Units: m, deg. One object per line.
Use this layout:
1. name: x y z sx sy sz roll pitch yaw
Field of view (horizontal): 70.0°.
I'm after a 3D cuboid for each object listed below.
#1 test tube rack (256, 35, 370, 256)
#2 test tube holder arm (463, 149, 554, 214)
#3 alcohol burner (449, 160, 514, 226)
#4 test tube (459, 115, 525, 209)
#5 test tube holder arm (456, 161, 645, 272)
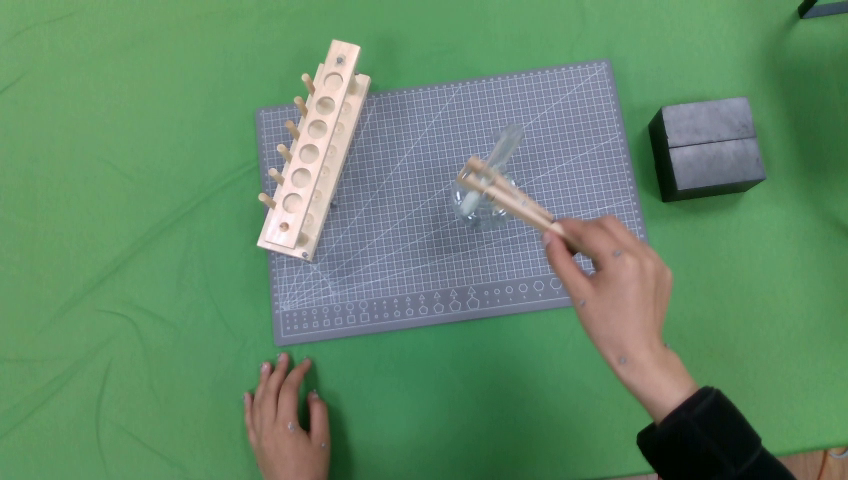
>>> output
1. test tube rack: -0.136 -0.111 0.706 0.066 0.085 0.241 16 80 6
2. test tube holder arm: 0.072 -0.047 0.517 0.088 0.015 0.010 37 64 2
3. alcohol burner: 0.066 -0.058 0.674 0.078 0.119 0.077 0 78 1
4. test tube: 0.053 -0.059 0.507 0.017 0.151 0.017 4 70 -10
5. test tube holder arm: 0.107 -0.019 0.515 0.178 0.015 0.013 30 65 -1
